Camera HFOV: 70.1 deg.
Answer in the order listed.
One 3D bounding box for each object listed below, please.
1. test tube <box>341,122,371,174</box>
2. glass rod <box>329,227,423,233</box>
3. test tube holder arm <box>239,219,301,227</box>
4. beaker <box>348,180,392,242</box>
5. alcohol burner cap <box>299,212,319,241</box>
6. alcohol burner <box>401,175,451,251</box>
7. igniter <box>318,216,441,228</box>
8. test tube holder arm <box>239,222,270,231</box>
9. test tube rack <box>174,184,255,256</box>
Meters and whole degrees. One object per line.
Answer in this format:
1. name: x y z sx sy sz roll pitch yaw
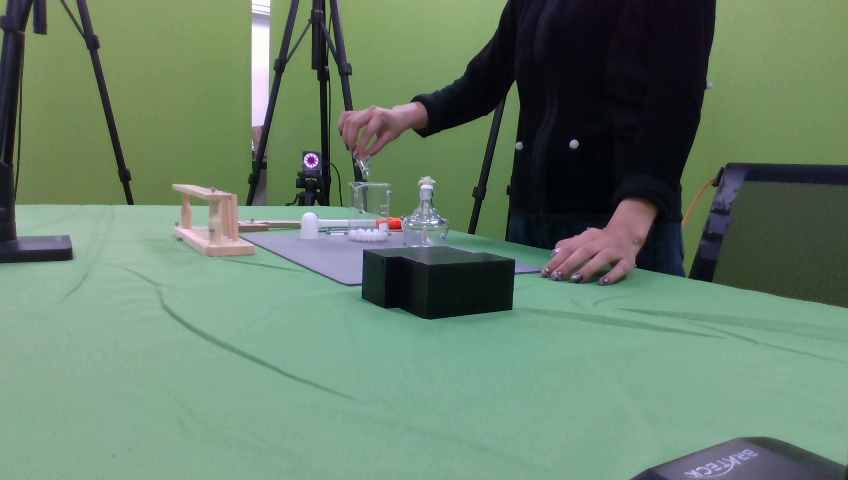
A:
1. test tube: -0.123 -0.166 1.080 0.017 0.017 0.149 -1 42 -26
2. glass rod: -0.087 -0.019 1.148 0.201 0.008 0.008 -3 8 -32
3. test tube holder arm: -0.296 -0.030 1.137 0.179 0.015 0.013 -6 45 -50
4. beaker: -0.095 -0.049 1.027 0.074 0.100 0.084 5 9 25
5. alcohol burner cap: -0.195 -0.025 1.025 0.034 0.048 0.034 3 7 0
6. alcohol burner: 0.003 -0.042 0.947 0.078 0.119 0.078 1 9 0
7. igniter: -0.090 -0.035 1.223 0.278 0.025 0.057 -2 -1 -31
8. test tube holder arm: -0.322 -0.024 1.100 0.088 0.015 0.010 -5 44 -49
9. test tube rack: -0.327 -0.036 0.928 0.067 0.085 0.241 -2 9 -32
